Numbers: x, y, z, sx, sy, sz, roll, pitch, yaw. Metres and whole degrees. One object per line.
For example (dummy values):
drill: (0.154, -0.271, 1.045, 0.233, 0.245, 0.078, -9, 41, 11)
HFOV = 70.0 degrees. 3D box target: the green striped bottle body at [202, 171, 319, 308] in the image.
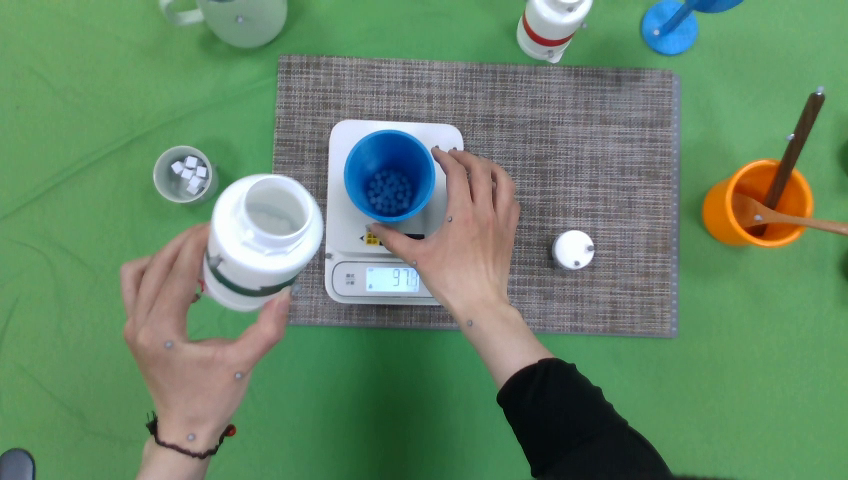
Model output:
green striped bottle body: (-0.104, 0.000, 0.381, 0.063, 0.119, 0.062, 8, 68, -20)

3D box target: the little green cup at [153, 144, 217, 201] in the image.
little green cup: (-0.257, -0.071, 0.660, 0.061, 0.038, 0.061, 0, 86, -3)

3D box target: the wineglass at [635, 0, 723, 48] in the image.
wineglass: (0.277, -0.261, 0.616, 0.074, 0.172, 0.073, 0, 86, 0)

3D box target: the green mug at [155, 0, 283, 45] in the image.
green mug: (-0.219, -0.260, 0.640, 0.125, 0.105, 0.092, -21, 87, -2)

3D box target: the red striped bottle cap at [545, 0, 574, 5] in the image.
red striped bottle cap: (0.132, -0.252, 0.586, 0.044, 0.018, 0.044, 0, 83, -1)

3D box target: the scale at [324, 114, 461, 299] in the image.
scale: (-0.034, -0.036, 0.663, 0.149, 0.031, 0.200, 1, 87, -1)

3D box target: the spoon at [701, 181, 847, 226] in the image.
spoon: (0.381, -0.029, 0.617, 0.022, 0.192, 0.041, 12, 94, -43)

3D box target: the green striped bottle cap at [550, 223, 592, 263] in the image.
green striped bottle cap: (0.163, 0.003, 0.673, 0.044, 0.020, 0.044, 0, 84, 0)

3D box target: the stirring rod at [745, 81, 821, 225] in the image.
stirring rod: (0.364, -0.082, 0.619, 0.014, 0.178, 0.006, 10, 45, 13)

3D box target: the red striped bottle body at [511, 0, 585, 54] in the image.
red striped bottle body: (0.132, -0.248, 0.639, 0.063, 0.120, 0.063, 0, 86, -1)
